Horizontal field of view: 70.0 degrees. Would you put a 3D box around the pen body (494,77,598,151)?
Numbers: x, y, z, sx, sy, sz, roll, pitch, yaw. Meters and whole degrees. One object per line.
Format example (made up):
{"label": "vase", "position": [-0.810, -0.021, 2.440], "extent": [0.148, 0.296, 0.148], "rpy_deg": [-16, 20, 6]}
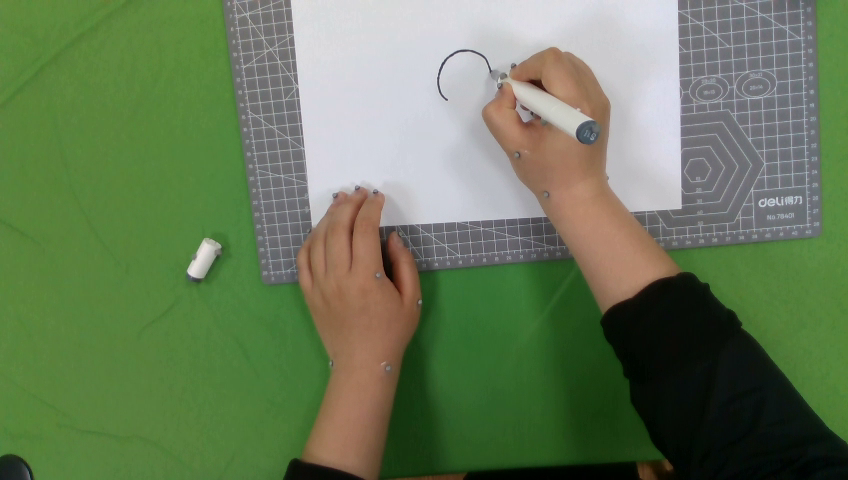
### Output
{"label": "pen body", "position": [0.078, -0.093, 0.421], "extent": [0.017, 0.142, 0.017], "rpy_deg": [-9, 122, -15]}

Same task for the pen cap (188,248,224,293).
{"label": "pen cap", "position": [-0.186, 0.027, 0.513], "extent": [0.017, 0.017, 0.038], "rpy_deg": [32, 98, 2]}
